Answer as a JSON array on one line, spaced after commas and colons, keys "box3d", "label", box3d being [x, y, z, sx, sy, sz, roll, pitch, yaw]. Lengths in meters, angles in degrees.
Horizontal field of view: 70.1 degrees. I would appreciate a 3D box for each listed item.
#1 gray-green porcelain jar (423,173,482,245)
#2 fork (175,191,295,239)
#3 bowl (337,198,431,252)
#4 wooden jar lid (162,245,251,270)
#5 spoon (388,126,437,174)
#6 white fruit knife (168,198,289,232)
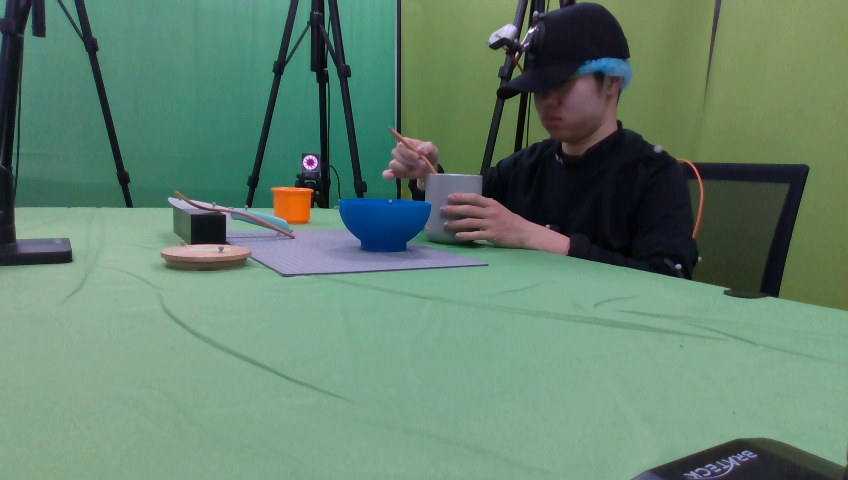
[{"box3d": [0.052, -0.059, 1.116, 0.106, 0.126, 0.106, 3, 7, 0], "label": "gray-green porcelain jar"}, {"box3d": [-0.305, -0.039, 0.993, 0.208, 0.018, 0.028, 19, -9, -34], "label": "fork"}, {"box3d": [-0.066, -0.024, 0.967, 0.151, 0.077, 0.151, 3, 7, 0], "label": "bowl"}, {"box3d": [-0.278, 0.022, 0.777, 0.108, 0.020, 0.108, 2, 6, 0], "label": "wooden jar lid"}, {"box3d": [0.005, -0.136, 1.098, 0.021, 0.194, 0.041, -40, 3, 8], "label": "spoon"}, {"box3d": [-0.329, -0.044, 1.036, 0.208, 0.027, 0.016, 14, -2, -32], "label": "white fruit knife"}]
